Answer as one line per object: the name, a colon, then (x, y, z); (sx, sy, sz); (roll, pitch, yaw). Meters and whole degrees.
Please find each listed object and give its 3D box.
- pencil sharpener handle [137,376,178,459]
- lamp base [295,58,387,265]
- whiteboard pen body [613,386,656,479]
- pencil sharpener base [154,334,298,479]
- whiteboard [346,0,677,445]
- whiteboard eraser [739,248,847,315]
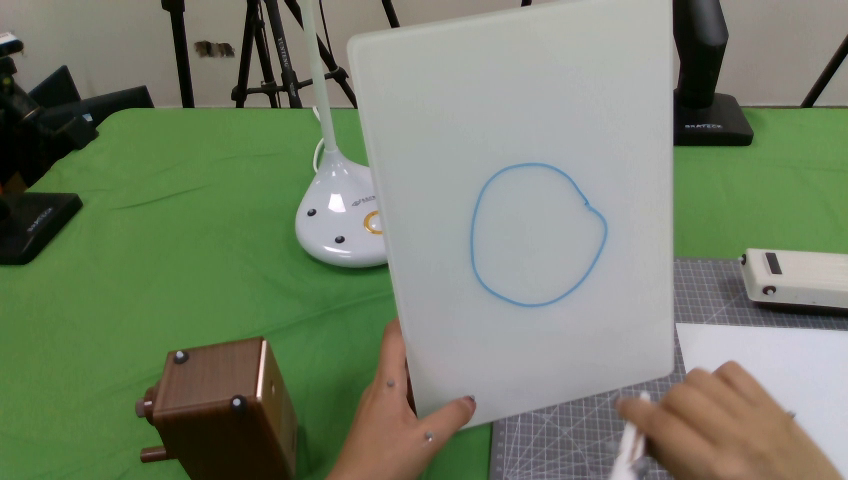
pencil sharpener handle: (-0.193, 0.129, 0.429); (0.031, 0.068, 0.035); (-8, 28, -3)
lamp base: (-0.079, -0.091, 0.642); (0.160, 0.182, 0.177); (-31, 44, -27)
whiteboard pen body: (0.132, 0.119, 0.372); (0.017, 0.017, 0.141); (13, 15, 22)
pencil sharpener base: (-0.141, 0.129, 0.443); (0.077, 0.108, 0.060); (-8, 40, -3)
whiteboard: (0.069, -0.026, 0.495); (0.217, 0.307, 0.142); (-12, 21, -7)
whiteboard eraser: (0.348, 0.038, 0.544); (0.112, 0.042, 0.055); (4, 42, 12)
